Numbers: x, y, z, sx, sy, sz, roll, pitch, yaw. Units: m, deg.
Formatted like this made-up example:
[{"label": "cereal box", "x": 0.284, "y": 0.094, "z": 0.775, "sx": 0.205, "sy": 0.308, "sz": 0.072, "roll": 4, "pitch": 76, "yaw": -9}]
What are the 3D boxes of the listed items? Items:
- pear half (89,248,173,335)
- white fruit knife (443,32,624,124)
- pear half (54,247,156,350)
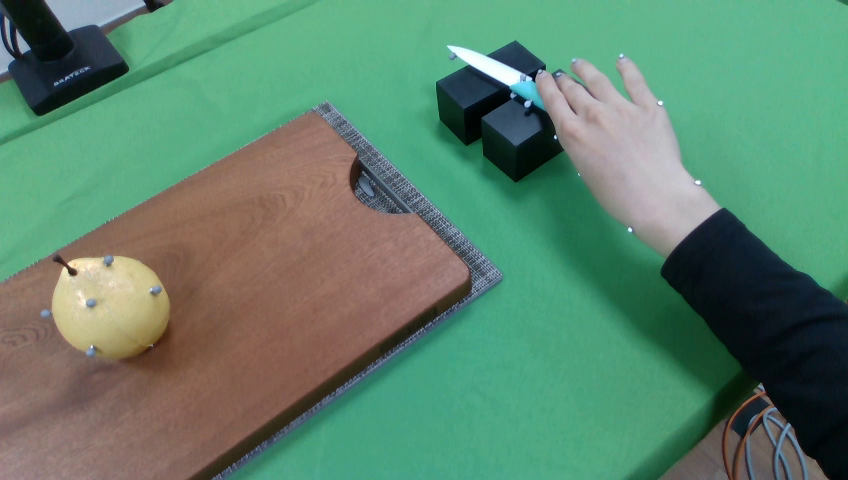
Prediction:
[{"label": "pear half", "x": -0.216, "y": 0.033, "z": 0.465, "sx": 0.031, "sy": 0.089, "sz": 0.069, "roll": -28, "pitch": 51, "yaw": -9}, {"label": "white fruit knife", "x": 0.094, "y": -0.158, "z": 0.575, "sx": 0.205, "sy": 0.016, "sz": 0.027, "roll": 36, "pitch": 64, "yaw": 29}, {"label": "pear half", "x": -0.250, "y": 0.041, "z": 0.452, "sx": 0.056, "sy": 0.111, "sz": 0.075, "roll": -26, "pitch": 53, "yaw": -9}]
